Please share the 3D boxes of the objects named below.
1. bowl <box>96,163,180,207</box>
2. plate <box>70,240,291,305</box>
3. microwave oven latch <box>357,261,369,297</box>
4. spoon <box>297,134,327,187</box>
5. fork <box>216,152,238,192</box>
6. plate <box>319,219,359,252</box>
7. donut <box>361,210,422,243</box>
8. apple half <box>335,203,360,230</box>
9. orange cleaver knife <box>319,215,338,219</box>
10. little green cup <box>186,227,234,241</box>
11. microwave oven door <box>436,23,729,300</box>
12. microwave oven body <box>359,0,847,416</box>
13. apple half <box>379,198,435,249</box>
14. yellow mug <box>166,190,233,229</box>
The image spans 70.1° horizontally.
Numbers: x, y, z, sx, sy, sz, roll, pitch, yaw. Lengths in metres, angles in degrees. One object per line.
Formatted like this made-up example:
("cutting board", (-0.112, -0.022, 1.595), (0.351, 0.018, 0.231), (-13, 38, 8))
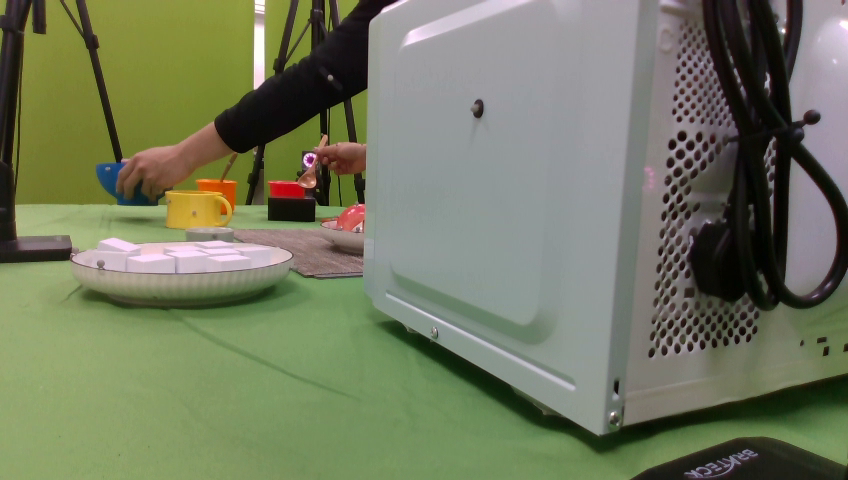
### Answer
("bowl", (-0.568, -0.106, 1.206), (0.151, 0.076, 0.151), (1, 1, 0))
("plate", (-0.242, 0.032, 0.618), (0.208, 0.039, 0.207), (2, 7, 0))
("microwave oven latch", (-0.019, 0.033, 0.531), (0.079, 0.029, 0.030), (-1, 7, -28))
("spoon", (-0.258, -0.191, 1.433), (0.041, 0.193, 0.021), (13, -37, 1))
("fork", (-0.455, -0.132, 1.367), (0.028, 0.018, 0.207), (-2, -35, -37))
("plate", (-0.059, -0.007, 0.939), (0.209, 0.038, 0.209), (3, 8, 0))
("donut", (-0.051, -0.020, 0.959), (0.099, 0.048, 0.099), (6, 8, -1))
("apple half", (-0.116, -0.038, 0.960), (0.081, 0.033, 0.081), (-37, 8, 6))
("orange cleaver knife", (-0.142, -0.057, 1.394), (0.077, 0.012, 0.212), (3, 7, 44))
("little green cup", (-0.285, 0.005, 0.805), (0.061, 0.038, 0.061), (2, 8, 0))
("microwave oven door", (0.180, -0.073, 0.621), (0.358, 0.243, 0.039), (-2, 9, -29))
("microwave oven body", (0.211, -0.047, 0.474), (0.444, 0.260, 0.324), (-1, 7, -28))
("apple half", (-0.020, -0.030, 0.891), (0.081, 0.053, 0.074), (-2, 48, -26))
("yellow mug", (-0.415, -0.057, 1.132), (0.130, 0.064, 0.100), (6, 8, 16))
